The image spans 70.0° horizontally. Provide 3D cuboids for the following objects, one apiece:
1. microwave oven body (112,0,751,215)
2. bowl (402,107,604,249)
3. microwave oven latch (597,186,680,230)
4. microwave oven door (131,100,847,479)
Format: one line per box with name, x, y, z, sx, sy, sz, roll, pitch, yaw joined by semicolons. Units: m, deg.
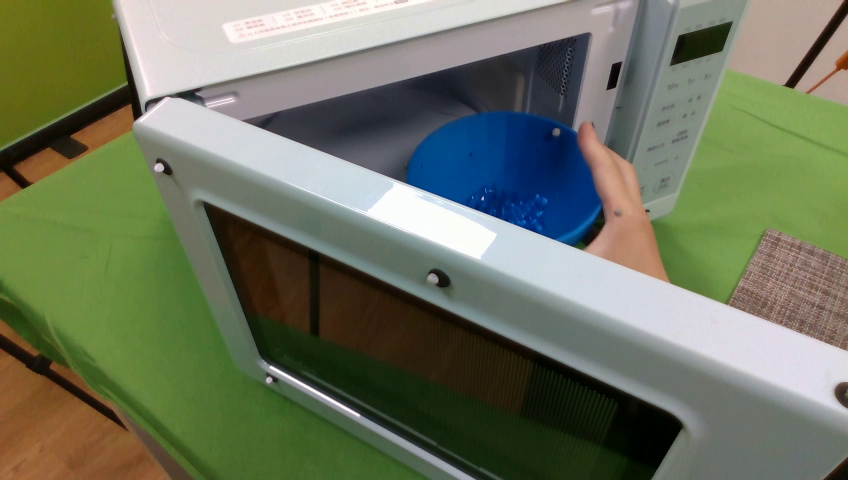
microwave oven body;-0.013;-0.143;0.569;0.442;0.262;0.322;-20;49;-17
bowl;0.060;-0.028;0.481;0.151;0.077;0.150;-2;51;2
microwave oven latch;0.212;-0.038;0.599;0.079;0.030;0.030;-18;49;-16
microwave oven door;0.004;0.072;0.351;0.353;0.246;0.039;22;50;21
